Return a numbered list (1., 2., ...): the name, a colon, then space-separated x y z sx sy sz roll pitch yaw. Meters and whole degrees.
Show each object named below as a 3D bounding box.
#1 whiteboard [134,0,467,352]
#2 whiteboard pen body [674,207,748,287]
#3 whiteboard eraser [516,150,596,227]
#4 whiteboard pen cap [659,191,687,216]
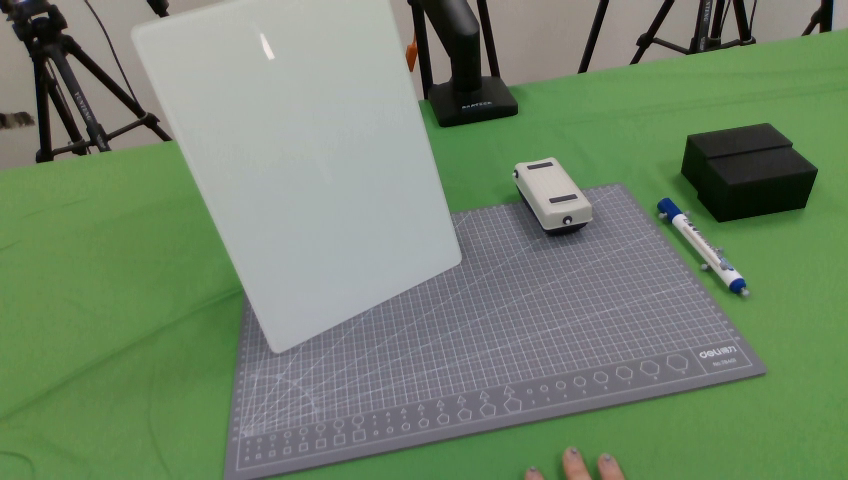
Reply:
1. whiteboard: -0.116 -0.088 0.605 0.217 0.307 0.142 -25 24 -20
2. whiteboard pen body: 0.287 -0.002 0.624 0.017 0.017 0.139 -11 39 -5
3. whiteboard eraser: 0.147 -0.058 0.688 0.055 0.042 0.111 -14 40 -5
4. whiteboard pen cap: 0.275 -0.039 0.667 0.018 0.018 0.033 -12 39 -5
